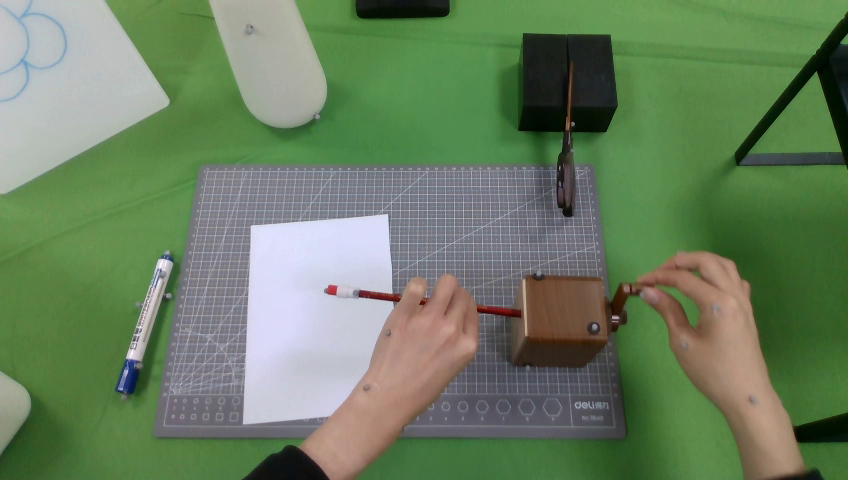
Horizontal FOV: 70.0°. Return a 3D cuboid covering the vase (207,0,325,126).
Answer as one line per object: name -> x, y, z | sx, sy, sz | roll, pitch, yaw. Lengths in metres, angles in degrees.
vase -> -0.168, -0.209, 0.641 | 0.098, 0.201, 0.097 | -1, 66, 2

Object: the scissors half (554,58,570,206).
scissors half -> 0.149, -0.119, 0.642 | 0.013, 0.040, 0.174 | 0, 68, 21

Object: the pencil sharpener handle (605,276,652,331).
pencil sharpener handle -> 0.173, 0.054, 0.523 | 0.030, 0.068, 0.035 | 1, 51, 1

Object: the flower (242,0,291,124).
flower -> -0.177, -0.255, 0.570 | 0.044, 0.365, 0.038 | -7, 49, 2

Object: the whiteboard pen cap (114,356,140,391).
whiteboard pen cap -> -0.289, 0.130, 0.594 | 0.018, 0.018, 0.033 | 6, 62, 4

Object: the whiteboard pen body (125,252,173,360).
whiteboard pen body -> -0.283, 0.077, 0.618 | 0.017, 0.017, 0.140 | 6, 65, 4

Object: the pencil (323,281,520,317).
pencil -> 0.008, 0.054, 0.536 | 0.194, 0.012, 0.012 | 8, 67, -1

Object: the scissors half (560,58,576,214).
scissors half -> 0.158, -0.115, 0.660 | 0.012, 0.040, 0.175 | -1, 86, 26

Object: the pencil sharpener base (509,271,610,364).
pencil sharpener base -> 0.123, 0.075, 0.562 | 0.077, 0.108, 0.061 | 1, 66, 1

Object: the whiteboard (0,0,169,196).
whiteboard -> -0.462, -0.242, 0.635 | 0.217, 0.309, 0.142 | -33, 51, -12

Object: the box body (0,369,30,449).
box body -> -0.579, 0.148, 0.516 | 0.363, 0.161, 0.253 | 25, 70, 11
